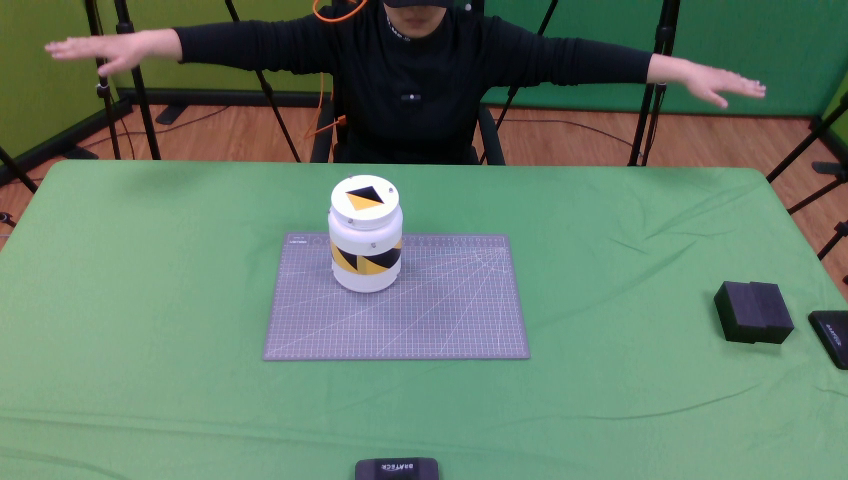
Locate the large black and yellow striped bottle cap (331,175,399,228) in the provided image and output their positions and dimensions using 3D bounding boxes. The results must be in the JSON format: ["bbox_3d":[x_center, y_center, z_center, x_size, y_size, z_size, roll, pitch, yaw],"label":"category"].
[{"bbox_3d":[-0.099,-0.067,1.022,0.115,0.019,0.114,2,47,-2],"label":"large black and yellow striped bottle cap"}]

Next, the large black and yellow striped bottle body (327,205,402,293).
[{"bbox_3d":[-0.105,-0.009,1.083,0.131,0.185,0.130,2,46,-2],"label":"large black and yellow striped bottle body"}]
